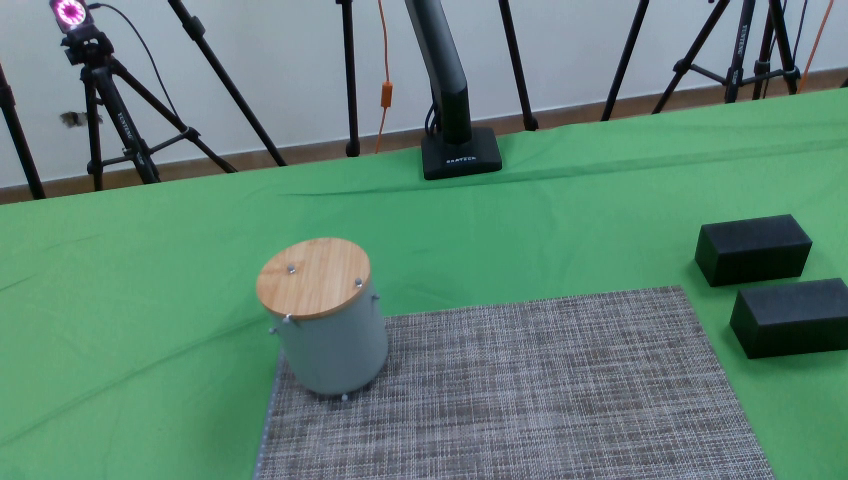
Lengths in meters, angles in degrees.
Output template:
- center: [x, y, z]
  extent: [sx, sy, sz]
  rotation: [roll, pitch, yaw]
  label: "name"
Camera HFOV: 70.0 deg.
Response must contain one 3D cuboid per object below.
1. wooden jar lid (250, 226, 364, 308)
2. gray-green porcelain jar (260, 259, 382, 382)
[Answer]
- center: [-0.109, 0.027, 0.577]
  extent: [0.108, 0.021, 0.107]
  rotation: [-3, 42, 3]
  label: "wooden jar lid"
- center: [-0.101, 0.073, 0.617]
  extent: [0.106, 0.128, 0.105]
  rotation: [-5, 41, 5]
  label: "gray-green porcelain jar"
